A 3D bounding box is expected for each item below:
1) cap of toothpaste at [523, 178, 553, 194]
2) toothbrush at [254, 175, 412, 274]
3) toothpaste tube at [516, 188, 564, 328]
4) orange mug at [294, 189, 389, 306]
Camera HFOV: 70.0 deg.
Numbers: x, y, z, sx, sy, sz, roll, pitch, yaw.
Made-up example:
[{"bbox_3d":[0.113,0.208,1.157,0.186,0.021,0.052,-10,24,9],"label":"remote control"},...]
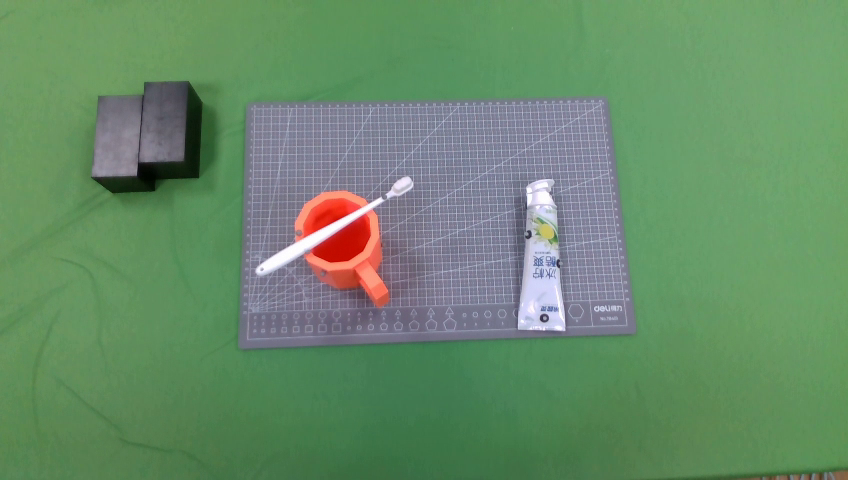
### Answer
[{"bbox_3d":[0.135,-0.062,0.716,0.037,0.037,0.011,-11,72,-5],"label":"cap of toothpaste"},{"bbox_3d":[-0.090,-0.016,0.609,0.182,0.017,0.014,-32,85,-10],"label":"toothbrush"},{"bbox_3d":[0.133,0.018,0.701,0.055,0.034,0.164,0,79,5],"label":"toothpaste tube"},{"bbox_3d":[-0.081,0.014,0.655,0.083,0.101,0.125,-35,75,-11],"label":"orange mug"}]
